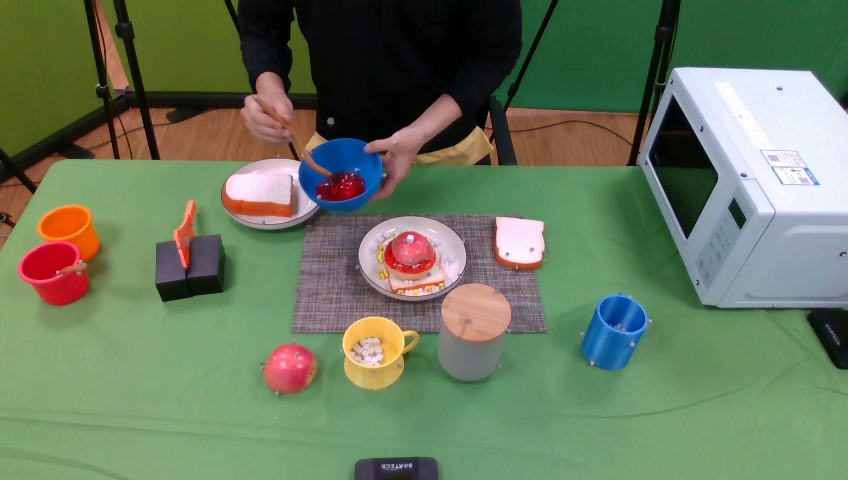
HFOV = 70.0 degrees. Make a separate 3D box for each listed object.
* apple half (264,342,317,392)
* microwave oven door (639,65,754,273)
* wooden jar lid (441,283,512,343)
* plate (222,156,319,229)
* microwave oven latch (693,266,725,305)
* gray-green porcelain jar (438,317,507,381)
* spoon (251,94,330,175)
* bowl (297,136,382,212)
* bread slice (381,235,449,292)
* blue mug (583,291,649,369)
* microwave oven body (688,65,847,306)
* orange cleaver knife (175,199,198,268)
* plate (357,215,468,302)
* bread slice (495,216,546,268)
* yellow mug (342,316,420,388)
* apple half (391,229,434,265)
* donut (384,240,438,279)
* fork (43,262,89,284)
[{"bbox_3d":[-0.214,0.198,0.970,0.074,0.053,0.080,19,48,10],"label":"apple half"},{"bbox_3d":[0.522,-0.147,1.192,0.039,0.245,0.353,0,47,-3],"label":"microwave oven door"},{"bbox_3d":[0.080,0.114,0.931,0.108,0.021,0.107,1,49,-1],"label":"wooden jar lid"},{"bbox_3d":[-0.308,-0.095,1.251,0.209,0.038,0.208,3,46,-3],"label":"plate"},{"bbox_3d":[0.523,0.082,1.115,0.030,0.029,0.078,3,46,0],"label":"microwave oven latch"},{"bbox_3d":[0.076,0.158,0.977,0.106,0.127,0.105,2,47,-2],"label":"gray-green porcelain jar"},{"bbox_3d":[-0.216,-0.170,0.992,0.021,0.195,0.041,-40,41,-4],"label":"spoon"},{"bbox_3d":[-0.145,-0.104,1.088,0.151,0.077,0.150,-2,56,4],"label":"bowl"},{"bbox_3d":[-0.027,0.039,1.140,0.107,0.018,0.133,-11,48,-16],"label":"bread slice"},{"bbox_3d":[0.324,0.142,1.023,0.082,0.106,0.116,15,47,11],"label":"blue mug"},{"bbox_3d":[0.669,-0.111,1.176,0.326,0.261,0.439,0,46,-3],"label":"microwave oven body"},{"bbox_3d":[-0.438,-0.017,1.138,0.012,0.077,0.210,-14,27,-6],"label":"orange cleaver knife"},{"bbox_3d":[-0.022,0.037,1.141,0.208,0.039,0.206,2,46,-2],"label":"plate"},{"bbox_3d":[0.194,0.002,1.205,0.105,0.019,0.131,5,45,2],"label":"bread slice"},{"bbox_3d":[-0.068,0.177,0.991,0.131,0.064,0.099,-16,50,-19],"label":"yellow mug"},{"bbox_3d":[-0.021,0.004,1.083,0.081,0.033,0.081,7,49,-8],"label":"apple half"},{"bbox_3d":[-0.025,0.029,1.110,0.099,0.048,0.098,3,46,-3],"label":"donut"},{"bbox_3d":[-0.599,0.053,1.014,0.207,0.019,0.028,-14,30,45],"label":"fork"}]
